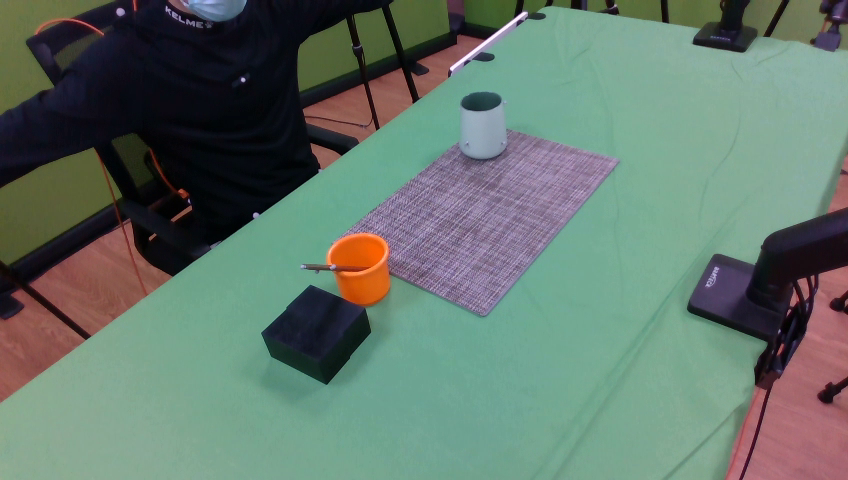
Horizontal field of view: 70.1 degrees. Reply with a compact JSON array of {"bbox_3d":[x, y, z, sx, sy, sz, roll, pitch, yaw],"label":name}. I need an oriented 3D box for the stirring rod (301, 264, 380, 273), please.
[{"bbox_3d":[-0.113,0.041,0.851,0.014,0.006,0.177,14,2,28],"label":"stirring rod"}]

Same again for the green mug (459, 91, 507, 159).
[{"bbox_3d":[0.116,-0.225,1.144,0.092,0.105,0.125,13,45,23],"label":"green mug"}]
